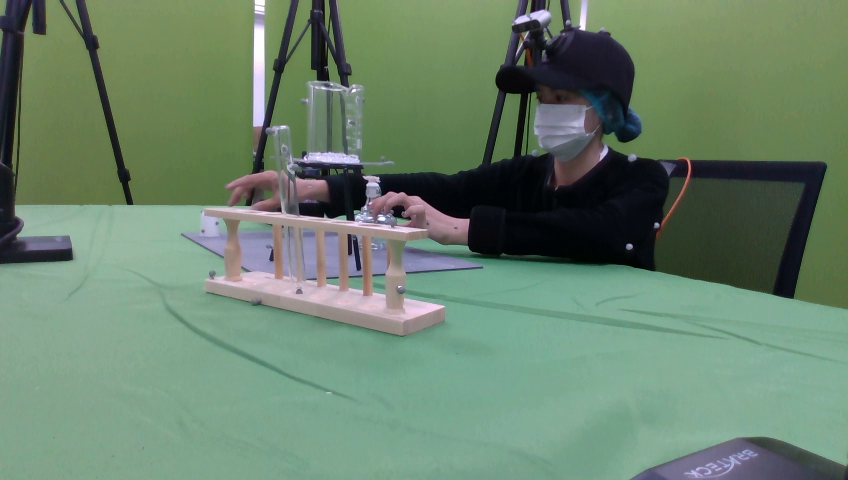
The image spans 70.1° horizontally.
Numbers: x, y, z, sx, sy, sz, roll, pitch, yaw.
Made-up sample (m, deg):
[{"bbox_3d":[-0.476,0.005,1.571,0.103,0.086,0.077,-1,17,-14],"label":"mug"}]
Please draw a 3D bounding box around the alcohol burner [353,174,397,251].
[{"bbox_3d":[-0.082,-0.043,0.950,0.078,0.119,0.078,1,8,0],"label":"alcohol burner"}]

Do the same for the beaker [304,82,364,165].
[{"bbox_3d":[-0.115,-0.148,0.779,0.074,0.100,0.083,-2,10,-30],"label":"beaker"}]

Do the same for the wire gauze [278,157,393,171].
[{"bbox_3d":[-0.122,-0.100,0.786,0.122,0.011,0.124,-5,14,-38],"label":"wire gauze"}]

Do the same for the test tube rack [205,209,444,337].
[{"bbox_3d":[-0.100,0.021,0.565,0.241,0.085,0.067,7,8,32],"label":"test tube rack"}]

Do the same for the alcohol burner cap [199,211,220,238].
[{"bbox_3d":[-0.355,-0.027,1.002,0.034,0.048,0.034,2,7,0],"label":"alcohol burner cap"}]

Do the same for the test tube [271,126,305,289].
[{"bbox_3d":[-0.124,-0.028,0.554,0.017,0.150,0.017,-5,7,1],"label":"test tube"}]

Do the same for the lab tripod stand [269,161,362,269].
[{"bbox_3d":[-0.125,-0.036,0.794,0.148,0.131,0.148,5,7,0],"label":"lab tripod stand"}]
